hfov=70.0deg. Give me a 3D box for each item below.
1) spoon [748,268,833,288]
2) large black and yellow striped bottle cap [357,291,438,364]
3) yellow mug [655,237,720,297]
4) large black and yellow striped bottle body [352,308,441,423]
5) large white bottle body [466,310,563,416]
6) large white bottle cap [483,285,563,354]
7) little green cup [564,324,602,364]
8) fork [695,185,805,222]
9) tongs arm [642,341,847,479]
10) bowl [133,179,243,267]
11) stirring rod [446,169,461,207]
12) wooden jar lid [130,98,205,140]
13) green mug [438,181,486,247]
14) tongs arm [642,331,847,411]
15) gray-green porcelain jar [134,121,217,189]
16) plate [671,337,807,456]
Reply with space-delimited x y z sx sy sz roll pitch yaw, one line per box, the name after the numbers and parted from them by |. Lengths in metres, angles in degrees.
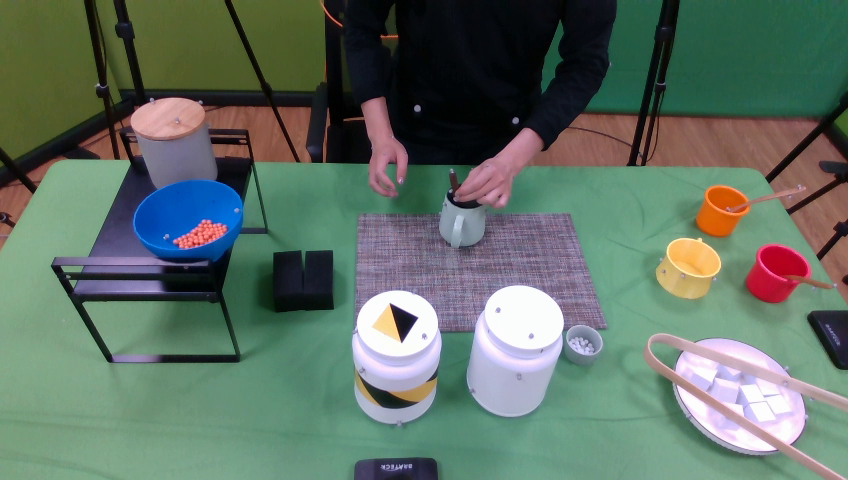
0.660 0.068 1.098 0.041 0.193 0.021 -4 91 -6 | spoon
-0.037 0.121 0.851 0.115 0.019 0.114 1 46 -1 | large black and yellow striped bottle cap
0.509 0.041 1.167 0.099 0.064 0.130 24 48 18 | yellow mug
-0.042 0.177 0.913 0.131 0.185 0.130 2 46 -2 | large black and yellow striped bottle body
0.138 0.171 0.932 0.131 0.185 0.130 2 46 -2 | large white bottle body
0.142 0.112 0.871 0.115 0.018 0.114 3 46 -2 | large white bottle cap
0.269 0.179 1.035 0.061 0.039 0.061 2 45 -2 | little green cup
0.657 -0.074 1.230 0.207 0.019 0.028 -23 34 37 | fork
0.504 0.278 0.918 0.386 0.028 0.028 34 59 22 | tongs arm
-0.339 -0.013 0.895 0.151 0.077 0.150 2 46 -2 | bowl
0.060 -0.076 1.139 0.014 0.177 0.006 -13 55 3 | stirring rod
-0.393 -0.183 0.934 0.108 0.021 0.107 2 44 -2 | wooden jar lid
0.071 -0.039 1.177 0.092 0.105 0.124 12 47 7 | green mug
0.546 0.227 0.968 0.384 0.026 0.050 22 52 13 | tongs arm
-0.397 -0.141 0.980 0.106 0.127 0.105 2 47 -2 | gray-green porcelain jar
0.503 0.254 0.984 0.208 0.039 0.206 2 46 -2 | plate
